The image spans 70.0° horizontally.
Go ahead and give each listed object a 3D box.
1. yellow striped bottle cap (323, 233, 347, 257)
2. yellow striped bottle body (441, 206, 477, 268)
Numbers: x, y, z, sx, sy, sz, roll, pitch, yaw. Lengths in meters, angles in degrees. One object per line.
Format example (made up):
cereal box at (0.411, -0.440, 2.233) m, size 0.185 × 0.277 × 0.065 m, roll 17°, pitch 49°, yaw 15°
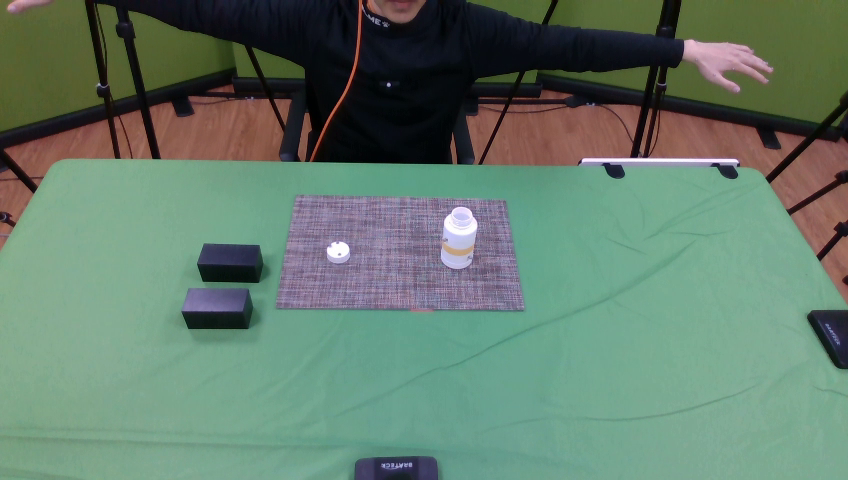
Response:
yellow striped bottle cap at (-0.168, 0.010, 1.143) m, size 0.044 × 0.019 × 0.044 m, roll 3°, pitch 55°, yaw -4°
yellow striped bottle body at (0.066, -0.009, 1.135) m, size 0.063 × 0.121 × 0.062 m, roll 2°, pitch 47°, yaw -2°
